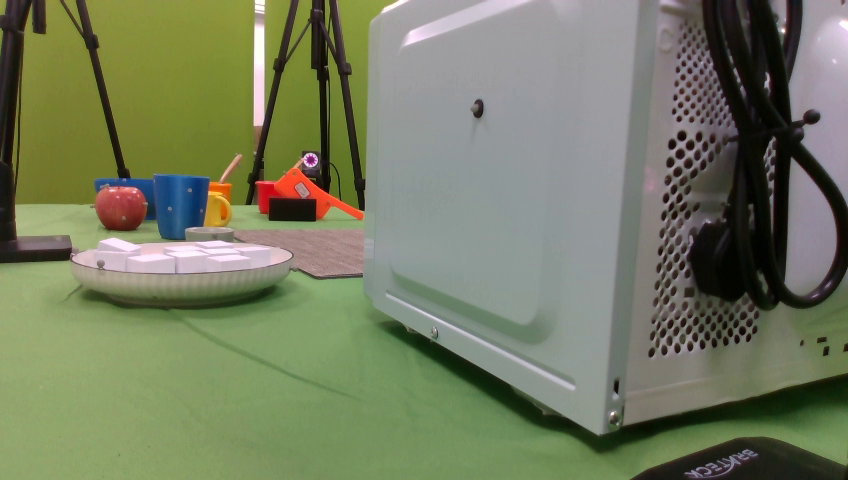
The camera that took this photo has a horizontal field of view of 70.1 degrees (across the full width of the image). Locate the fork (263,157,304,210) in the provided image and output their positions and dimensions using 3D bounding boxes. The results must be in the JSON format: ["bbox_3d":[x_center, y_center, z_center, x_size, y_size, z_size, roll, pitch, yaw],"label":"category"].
[{"bbox_3d":[-0.345,-0.143,1.506,0.028,0.019,0.207,-4,46,29],"label":"fork"}]

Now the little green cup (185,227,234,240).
[{"bbox_3d":[-0.285,0.005,0.805,0.061,0.038,0.061,2,8,0],"label":"little green cup"}]

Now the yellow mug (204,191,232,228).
[{"bbox_3d":[-0.415,-0.057,1.131,0.130,0.064,0.100,5,7,16],"label":"yellow mug"}]

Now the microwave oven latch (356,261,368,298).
[{"bbox_3d":[-0.020,0.033,0.529,0.079,0.029,0.030,0,7,-25],"label":"microwave oven latch"}]

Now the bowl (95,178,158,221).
[{"bbox_3d":[-0.576,-0.081,1.217,0.151,0.077,0.151,3,8,0],"label":"bowl"}]

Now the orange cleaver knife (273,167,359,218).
[{"bbox_3d":[-0.238,-0.090,1.381,0.212,0.077,0.012,31,0,-19],"label":"orange cleaver knife"}]

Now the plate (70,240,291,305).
[{"bbox_3d":[-0.242,0.031,0.618,0.208,0.039,0.207,2,8,0],"label":"plate"}]

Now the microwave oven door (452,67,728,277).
[{"bbox_3d":[0.197,-0.094,0.800,0.354,0.243,0.039,7,9,36],"label":"microwave oven door"}]

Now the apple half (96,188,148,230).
[{"bbox_3d":[-0.517,-0.052,1.036,0.081,0.074,0.053,2,10,-26],"label":"apple half"}]

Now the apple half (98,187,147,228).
[{"bbox_3d":[-0.534,-0.059,1.071,0.082,0.081,0.032,-1,11,-25],"label":"apple half"}]

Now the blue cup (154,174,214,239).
[{"bbox_3d":[-0.391,-0.053,0.978,0.093,0.100,0.092,3,6,0],"label":"blue cup"}]

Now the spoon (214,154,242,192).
[{"bbox_3d":[-0.439,-0.124,1.318,0.041,0.193,0.022,6,-36,16],"label":"spoon"}]

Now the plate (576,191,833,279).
[{"bbox_3d":[0.237,-0.006,0.535,0.209,0.038,0.209,8,13,-1],"label":"plate"}]

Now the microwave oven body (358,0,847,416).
[{"bbox_3d":[0.210,-0.047,0.475,0.444,0.260,0.324,-1,7,-28],"label":"microwave oven body"}]

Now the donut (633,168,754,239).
[{"bbox_3d":[0.239,-0.034,0.541,0.099,0.048,0.099,-11,25,5],"label":"donut"}]
